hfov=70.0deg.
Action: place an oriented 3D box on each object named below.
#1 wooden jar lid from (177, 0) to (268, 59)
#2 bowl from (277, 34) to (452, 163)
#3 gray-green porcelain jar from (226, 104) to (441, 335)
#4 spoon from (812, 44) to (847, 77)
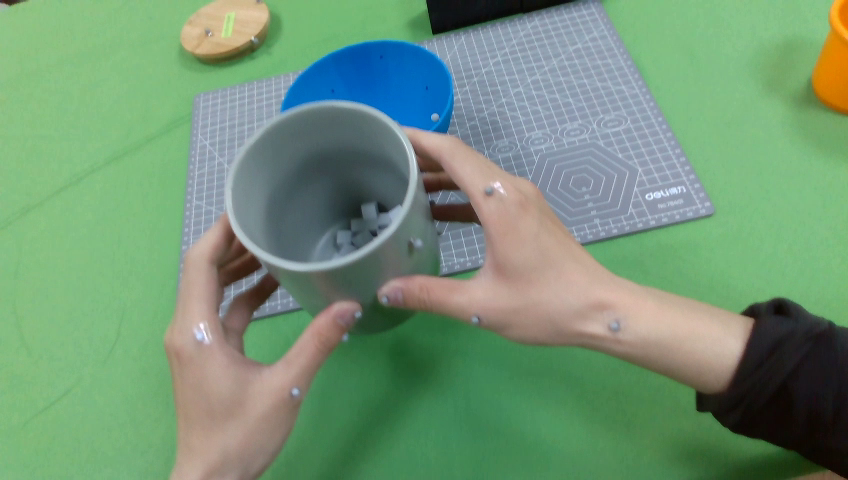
[{"bbox_3d":[-0.234,-0.252,0.713,0.108,0.021,0.107,-4,56,6],"label":"wooden jar lid"},{"bbox_3d":[-0.045,-0.102,0.538,0.151,0.077,0.150,-5,56,8],"label":"bowl"},{"bbox_3d":[-0.046,-0.004,0.376,0.106,0.127,0.105,-3,64,7],"label":"gray-green porcelain jar"},{"bbox_3d":[0.396,-0.166,0.455,0.022,0.193,0.041,42,64,-15],"label":"spoon"}]
